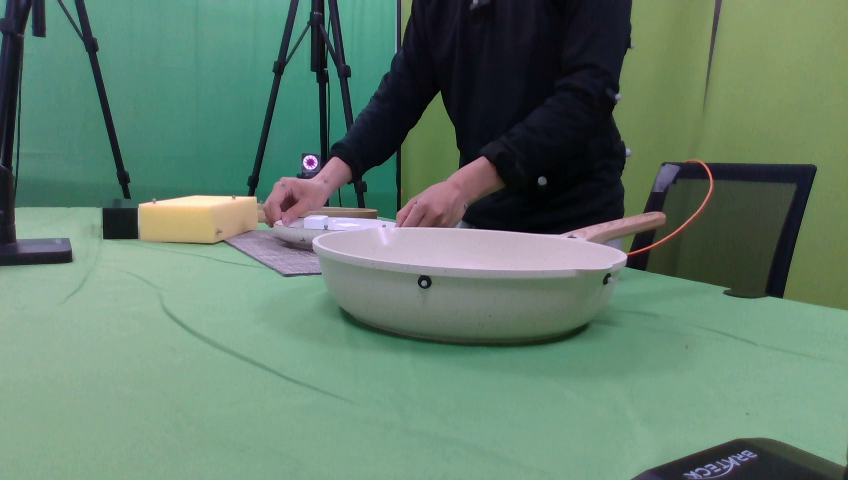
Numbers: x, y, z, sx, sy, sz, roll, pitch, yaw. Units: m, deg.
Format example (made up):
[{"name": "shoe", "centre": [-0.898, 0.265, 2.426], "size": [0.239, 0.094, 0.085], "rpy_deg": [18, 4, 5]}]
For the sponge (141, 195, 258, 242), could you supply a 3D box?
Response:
[{"name": "sponge", "centre": [-0.380, -0.040, 1.047], "size": [0.118, 0.061, 0.207], "rpy_deg": [1, 8, 3]}]

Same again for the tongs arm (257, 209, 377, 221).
[{"name": "tongs arm", "centre": [-0.280, -0.056, 1.355], "size": [0.389, 0.028, 0.028], "rpy_deg": [-1, 5, -28]}]

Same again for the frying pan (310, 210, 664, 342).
[{"name": "frying pan", "centre": [0.120, 0.011, 0.643], "size": [0.490, 0.102, 0.305], "rpy_deg": [-14, 16, -37]}]

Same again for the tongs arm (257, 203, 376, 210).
[{"name": "tongs arm", "centre": [-0.306, -0.070, 1.430], "size": [0.386, 0.026, 0.050], "rpy_deg": [2, 8, -15]}]

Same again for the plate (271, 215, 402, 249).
[{"name": "plate", "centre": [-0.140, -0.011, 0.977], "size": [0.208, 0.039, 0.207], "rpy_deg": [2, 7, 0]}]
